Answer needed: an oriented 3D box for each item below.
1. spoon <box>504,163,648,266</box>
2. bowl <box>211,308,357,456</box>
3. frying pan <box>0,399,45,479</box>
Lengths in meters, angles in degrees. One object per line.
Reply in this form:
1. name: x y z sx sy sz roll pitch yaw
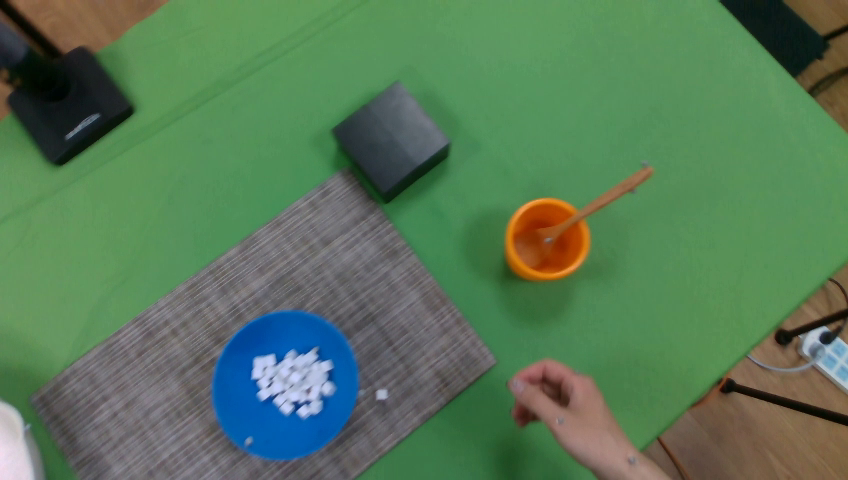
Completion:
1. spoon: 0.163 -0.026 0.668 0.022 0.194 0.041 -19 76 -49
2. bowl: -0.144 0.152 0.662 0.151 0.077 0.151 0 80 -1
3. frying pan: -0.475 0.358 0.610 0.307 0.103 0.485 -39 74 -7
